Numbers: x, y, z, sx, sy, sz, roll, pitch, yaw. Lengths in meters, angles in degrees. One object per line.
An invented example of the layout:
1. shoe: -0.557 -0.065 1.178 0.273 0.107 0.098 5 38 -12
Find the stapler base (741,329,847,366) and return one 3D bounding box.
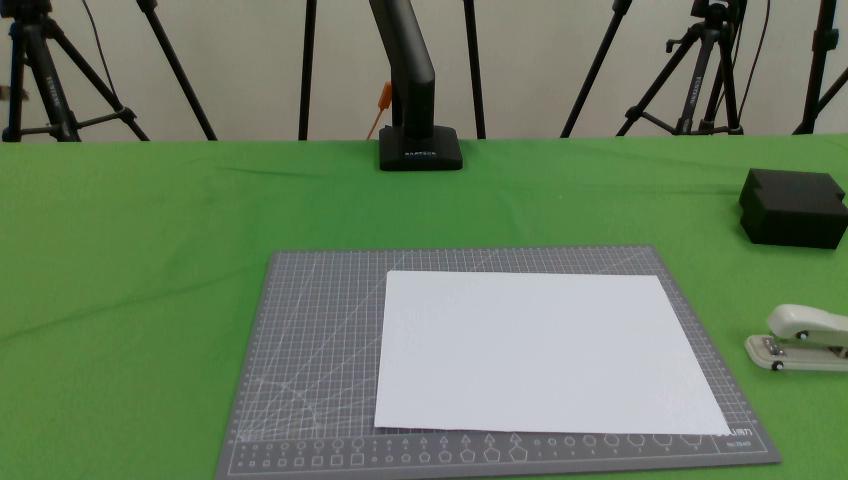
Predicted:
1. stapler base: 0.377 0.098 0.582 0.130 0.024 0.041 3 39 -2

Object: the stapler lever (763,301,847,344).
1. stapler lever: 0.379 0.079 0.567 0.118 0.040 0.026 2 39 -1
